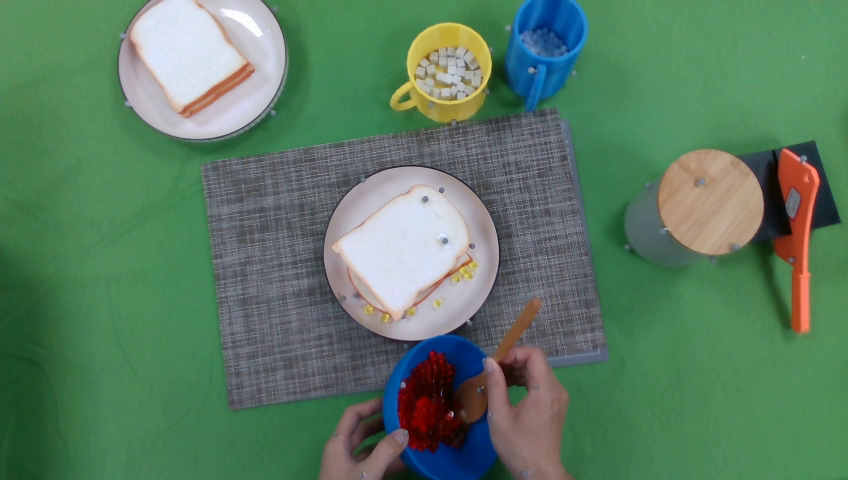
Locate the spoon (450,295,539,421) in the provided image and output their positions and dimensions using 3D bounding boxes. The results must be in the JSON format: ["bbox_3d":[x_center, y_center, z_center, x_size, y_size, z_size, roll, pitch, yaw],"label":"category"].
[{"bbox_3d":[0.072,0.126,0.624,0.022,0.195,0.041,-19,56,-39],"label":"spoon"}]

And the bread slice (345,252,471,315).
[{"bbox_3d":[-0.025,0.025,0.716,0.131,0.019,0.104,-41,83,-8],"label":"bread slice"}]

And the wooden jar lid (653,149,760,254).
[{"bbox_3d":[0.285,-0.038,0.617,0.108,0.021,0.108,0,84,-2],"label":"wooden jar lid"}]

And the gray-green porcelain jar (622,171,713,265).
[{"bbox_3d":[0.287,-0.028,0.679,0.106,0.127,0.105,0,81,0],"label":"gray-green porcelain jar"}]

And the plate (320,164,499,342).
[{"bbox_3d":[-0.017,0.015,0.715,0.209,0.038,0.208,0,82,0],"label":"plate"}]

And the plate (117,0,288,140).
[{"bbox_3d":[-0.270,-0.221,0.753,0.208,0.039,0.207,0,82,0],"label":"plate"}]

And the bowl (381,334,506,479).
[{"bbox_3d":[0.007,0.182,0.651,0.152,0.076,0.150,16,64,-34],"label":"bowl"}]

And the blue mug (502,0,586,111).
[{"bbox_3d":[0.135,-0.210,0.717,0.082,0.106,0.116,12,82,3],"label":"blue mug"}]

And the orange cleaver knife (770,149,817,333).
[{"bbox_3d":[0.421,0.002,0.696,0.012,0.076,0.212,-10,108,0],"label":"orange cleaver knife"}]

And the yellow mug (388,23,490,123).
[{"bbox_3d":[0.015,-0.193,0.734,0.131,0.064,0.099,-29,82,-3],"label":"yellow mug"}]

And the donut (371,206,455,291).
[{"bbox_3d":[-0.011,0.010,0.687,0.099,0.048,0.098,4,77,-17],"label":"donut"}]

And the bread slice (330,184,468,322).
[{"bbox_3d":[-0.020,0.004,0.656,0.134,0.018,0.107,-43,91,-13],"label":"bread slice"}]
